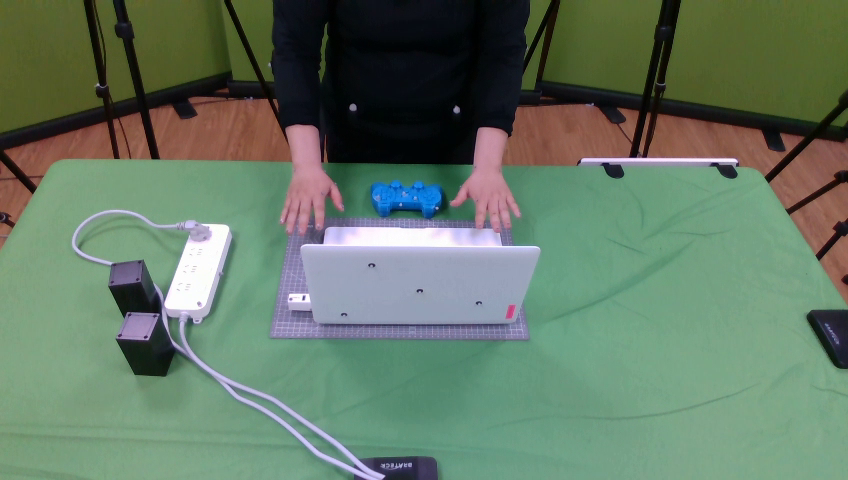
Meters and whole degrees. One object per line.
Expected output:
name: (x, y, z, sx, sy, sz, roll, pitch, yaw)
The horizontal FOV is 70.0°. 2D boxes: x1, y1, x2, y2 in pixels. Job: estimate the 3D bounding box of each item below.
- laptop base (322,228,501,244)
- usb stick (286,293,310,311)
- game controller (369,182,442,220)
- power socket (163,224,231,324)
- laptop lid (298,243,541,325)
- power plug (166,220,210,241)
laptop base: (-0.020, 0.063, 1.136, 0.355, 0.023, 0.234, 0, 43, -4)
usb stick: (-0.210, 0.109, 1.059, 0.059, 0.027, 0.021, 4, 44, -6)
game controller: (-0.039, -0.092, 1.268, 0.155, 0.052, 0.096, 2, 50, -2)
power socket: (-0.411, 0.052, 1.107, 0.072, 0.033, 0.225, 3, 46, -3)
laptop lid: (-0.009, 0.076, 0.958, 0.357, 0.243, 0.013, 1, 53, -5)
power plug: (-0.440, -0.016, 1.143, 0.072, 0.053, 0.035, 7, 46, 8)
